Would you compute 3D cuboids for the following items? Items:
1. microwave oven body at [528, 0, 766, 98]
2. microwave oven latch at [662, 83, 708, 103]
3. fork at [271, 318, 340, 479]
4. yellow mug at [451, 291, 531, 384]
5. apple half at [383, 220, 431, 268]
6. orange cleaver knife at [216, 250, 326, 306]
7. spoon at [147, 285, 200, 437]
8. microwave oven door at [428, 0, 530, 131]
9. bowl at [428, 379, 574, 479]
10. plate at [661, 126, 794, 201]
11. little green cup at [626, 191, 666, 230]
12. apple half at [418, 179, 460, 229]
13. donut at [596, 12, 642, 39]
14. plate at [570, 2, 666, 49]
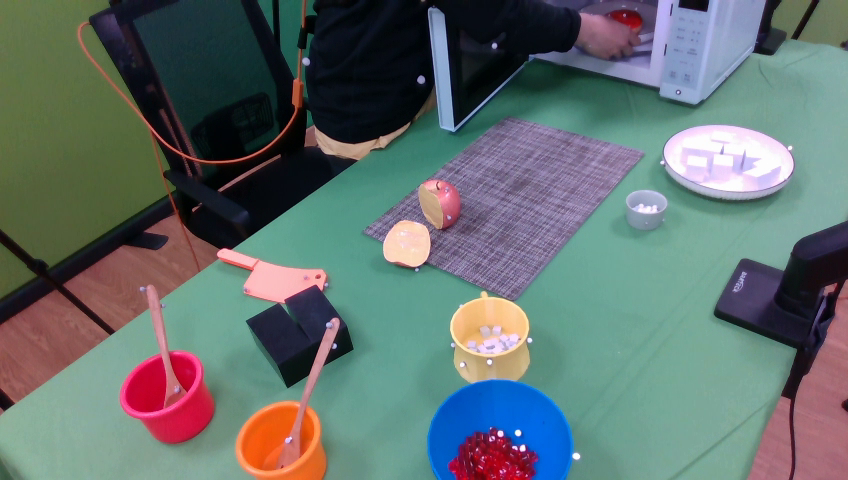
[{"bbox_3d":[0.472,-0.513,1.317,0.438,0.261,0.327,25,51,34],"label":"microwave oven body"},{"bbox_3d":[0.518,-0.297,1.204,0.078,0.029,0.030,28,52,36],"label":"microwave oven latch"},{"bbox_3d":[-0.132,0.186,0.676,0.028,0.019,0.207,17,90,28],"label":"fork"},{"bbox_3d":[0.085,0.120,0.786,0.100,0.064,0.130,-7,39,1],"label":"yellow mug"},{"bbox_3d":[-0.022,0.009,0.947,0.081,0.033,0.081,-3,73,11],"label":"apple half"},{"bbox_3d":[-0.248,0.058,0.945,0.210,0.012,0.077,13,49,20],"label":"orange cleaver knife"},{"bbox_3d":[-0.318,0.148,0.754,0.042,0.021,0.193,-15,85,-9],"label":"spoon"},{"bbox_3d":[0.126,-0.417,1.249,0.039,0.245,0.356,19,47,28],"label":"microwave oven door"},{"bbox_3d":[0.082,0.233,0.644,0.151,0.077,0.150,-4,39,4],"label":"bowl"},{"bbox_3d":[0.513,-0.128,1.035,0.207,0.039,0.206,-4,40,4],"label":"plate"},{"bbox_3d":[0.352,-0.046,0.963,0.061,0.039,0.061,-4,40,4],"label":"little green cup"},{"bbox_3d":[0.032,-0.062,0.998,0.053,0.075,0.080,-24,39,-23],"label":"apple half"},{"bbox_3d":[0.434,-0.477,1.347,0.099,0.048,0.098,-8,35,6],"label":"donut"},{"bbox_3d":[0.438,-0.483,1.371,0.209,0.038,0.208,-3,42,3],"label":"plate"}]
